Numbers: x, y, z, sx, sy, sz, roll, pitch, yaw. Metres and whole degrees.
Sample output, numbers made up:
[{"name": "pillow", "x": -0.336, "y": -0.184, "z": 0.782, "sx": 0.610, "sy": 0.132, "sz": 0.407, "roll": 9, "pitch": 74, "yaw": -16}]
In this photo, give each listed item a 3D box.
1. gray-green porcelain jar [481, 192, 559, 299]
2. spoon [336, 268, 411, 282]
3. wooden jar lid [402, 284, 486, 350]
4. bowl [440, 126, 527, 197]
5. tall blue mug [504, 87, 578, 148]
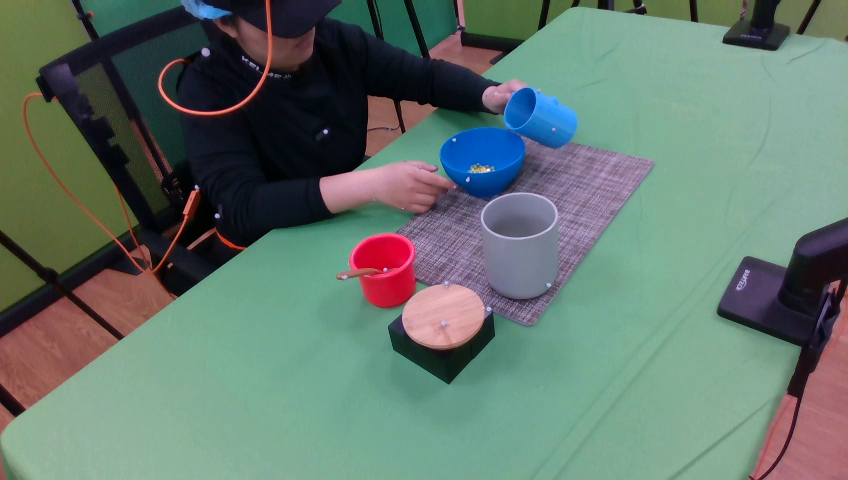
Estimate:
[{"name": "gray-green porcelain jar", "x": 0.138, "y": 0.012, "z": 0.858, "sx": 0.106, "sy": 0.127, "sz": 0.105, "roll": -6, "pitch": 40, "yaw": 5}, {"name": "spoon", "x": -0.071, "y": 0.047, "z": 0.850, "sx": 0.041, "sy": 0.195, "sz": 0.021, "roll": 18, "pitch": 93, "yaw": 24}, {"name": "wooden jar lid", "x": 0.026, "y": 0.101, "z": 0.786, "sx": 0.108, "sy": 0.021, "sz": 0.108, "roll": -5, "pitch": 39, "yaw": 4}, {"name": "bowl", "x": 0.107, "y": -0.129, "z": 1.070, "sx": 0.151, "sy": 0.077, "sz": 0.150, "roll": -5, "pitch": 40, "yaw": 5}, {"name": "tall blue mug", "x": 0.197, "y": -0.217, "z": 1.071, "sx": 0.109, "sy": 0.077, "sz": 0.106, "roll": 14, "pitch": 5, "yaw": -36}]
